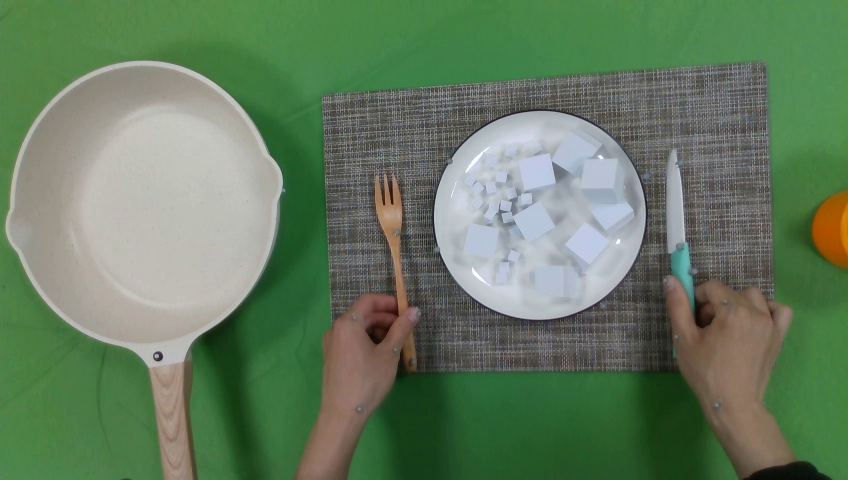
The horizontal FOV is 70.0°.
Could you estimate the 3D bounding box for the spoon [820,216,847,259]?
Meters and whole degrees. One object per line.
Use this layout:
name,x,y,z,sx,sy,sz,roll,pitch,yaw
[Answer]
spoon,0.435,-0.031,0.511,0.021,0.194,0.041,-35,88,-38

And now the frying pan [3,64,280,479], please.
frying pan,-0.272,0.068,0.628,0.306,0.103,0.486,-10,81,8

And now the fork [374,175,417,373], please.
fork,-0.027,0.034,0.627,0.028,0.018,0.206,-8,83,-1

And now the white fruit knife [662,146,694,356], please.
white fruit knife,0.246,0.010,0.591,0.016,0.027,0.207,-1,86,-25

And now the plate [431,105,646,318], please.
plate,0.111,-0.027,0.605,0.207,0.039,0.207,0,91,8
